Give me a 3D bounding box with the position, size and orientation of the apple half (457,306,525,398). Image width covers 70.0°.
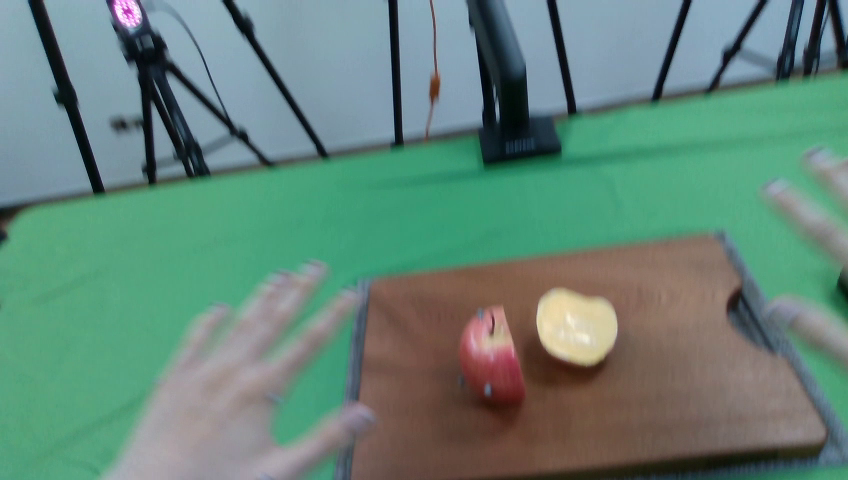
[{"bbox_3d":[0.058,0.107,0.557,0.053,0.075,0.080,-16,42,2],"label":"apple half"}]

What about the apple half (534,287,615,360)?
[{"bbox_3d":[0.143,0.087,0.591,0.081,0.033,0.080,-2,52,3],"label":"apple half"}]
